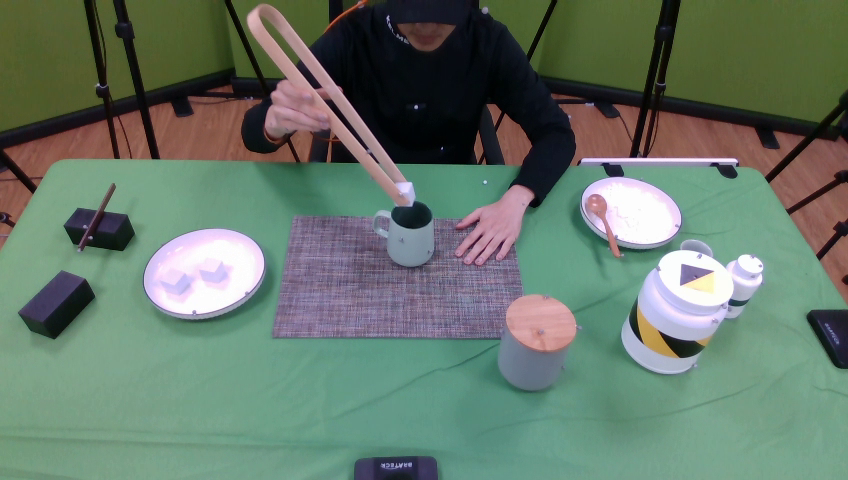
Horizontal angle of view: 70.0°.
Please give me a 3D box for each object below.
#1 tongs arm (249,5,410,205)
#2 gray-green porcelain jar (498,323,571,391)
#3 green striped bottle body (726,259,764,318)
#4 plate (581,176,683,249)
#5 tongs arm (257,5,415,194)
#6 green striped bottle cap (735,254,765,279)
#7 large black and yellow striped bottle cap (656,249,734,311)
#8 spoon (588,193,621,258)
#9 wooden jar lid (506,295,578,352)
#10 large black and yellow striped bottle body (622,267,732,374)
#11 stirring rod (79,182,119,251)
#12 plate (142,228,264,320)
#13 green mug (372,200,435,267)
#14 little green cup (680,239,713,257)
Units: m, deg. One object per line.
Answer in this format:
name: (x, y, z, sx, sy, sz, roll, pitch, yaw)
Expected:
tongs arm: (-0.144, -0.206, 0.990, 0.026, 0.387, 0.050, -19, 35, 37)
gray-green porcelain jar: (0.176, 0.172, 0.971, 0.106, 0.127, 0.105, 2, 46, -2)
green striped bottle body: (0.563, 0.081, 1.089, 0.063, 0.120, 0.063, 2, 46, -2)
plate: (0.430, -0.054, 1.267, 0.209, 0.038, 0.208, 2, 46, -2)
tongs arm: (-0.136, -0.221, 1.006, 0.028, 0.389, 0.028, -17, 32, 40)
green striped bottle cap: (0.566, 0.046, 1.051, 0.044, 0.020, 0.044, 0, 45, 0)
large black and yellow striped bottle cap: (0.419, 0.061, 0.938, 0.115, 0.019, 0.114, 2, 47, -2)
spoon: (0.367, -0.032, 1.220, 0.041, 0.022, 0.192, 1, 38, -1)
wooden jar lid: (0.179, 0.130, 0.925, 0.108, 0.021, 0.107, 2, 43, -2)
large black and yellow striped bottle body: (0.415, 0.119, 0.997, 0.131, 0.185, 0.130, 2, 46, -2)
stirring rod: (-0.605, -0.046, 1.131, 0.006, 0.014, 0.175, 0, 47, 2)
plate: (-0.394, 0.064, 1.095, 0.208, 0.039, 0.206, 2, 46, -2)
green mug: (-0.040, -0.016, 1.146, 0.125, 0.105, 0.092, 17, 48, 13)
little green cup: (0.530, 0.033, 1.189, 0.061, 0.039, 0.061, 2, 48, -2)
